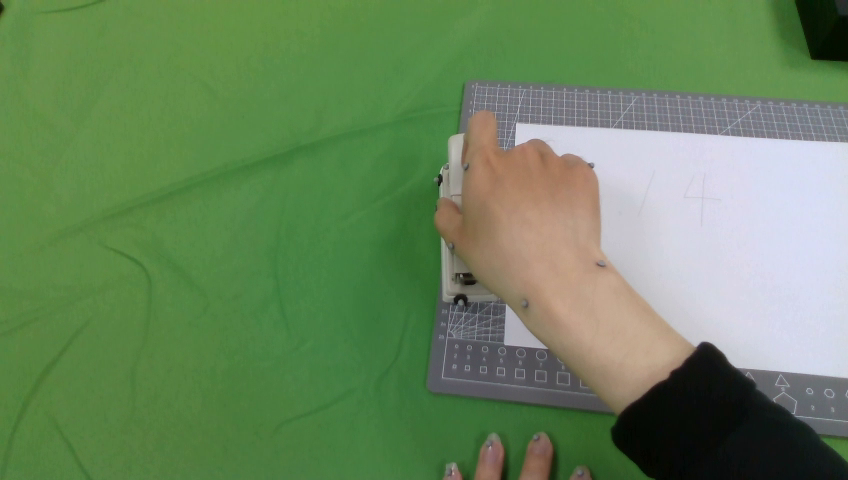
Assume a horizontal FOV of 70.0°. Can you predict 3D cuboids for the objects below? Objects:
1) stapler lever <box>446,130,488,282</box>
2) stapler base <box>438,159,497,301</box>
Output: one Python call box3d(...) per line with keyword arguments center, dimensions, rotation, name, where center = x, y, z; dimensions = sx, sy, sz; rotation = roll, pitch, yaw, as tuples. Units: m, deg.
box3d(center=(0.031, -0.028, 0.445), dimensions=(0.027, 0.040, 0.117), rotation=(-3, 60, 4), name="stapler lever")
box3d(center=(0.032, -0.017, 0.467), dimensions=(0.041, 0.024, 0.129), rotation=(-3, 60, 3), name="stapler base")
